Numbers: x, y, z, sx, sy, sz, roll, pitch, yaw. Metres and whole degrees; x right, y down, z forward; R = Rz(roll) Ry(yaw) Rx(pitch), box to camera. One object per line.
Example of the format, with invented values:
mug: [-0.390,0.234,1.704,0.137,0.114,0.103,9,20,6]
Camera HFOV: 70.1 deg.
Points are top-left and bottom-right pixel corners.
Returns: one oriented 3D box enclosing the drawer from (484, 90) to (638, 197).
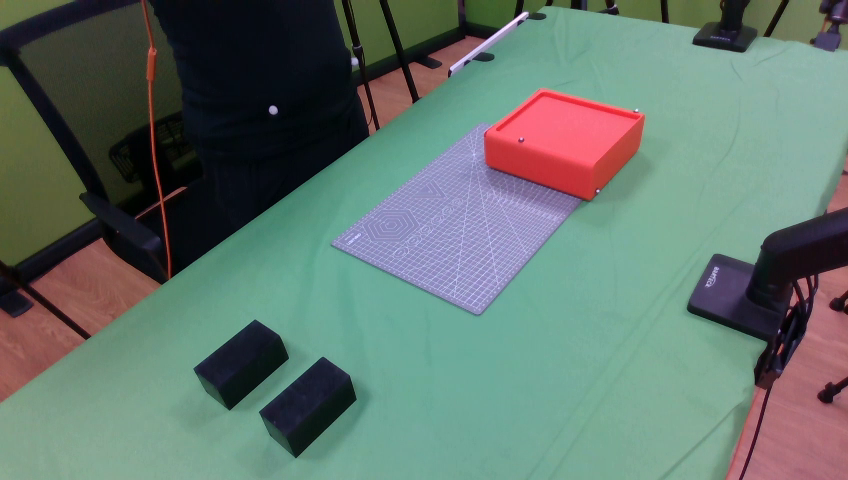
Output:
drawer: [0.247,-0.180,1.097,0.210,0.073,0.195,25,49,31]

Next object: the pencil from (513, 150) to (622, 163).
pencil: [0.260,-0.150,1.099,0.194,0.012,0.012,-4,40,6]

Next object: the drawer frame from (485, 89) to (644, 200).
drawer frame: [0.253,-0.180,1.094,0.212,0.083,0.202,24,48,31]
